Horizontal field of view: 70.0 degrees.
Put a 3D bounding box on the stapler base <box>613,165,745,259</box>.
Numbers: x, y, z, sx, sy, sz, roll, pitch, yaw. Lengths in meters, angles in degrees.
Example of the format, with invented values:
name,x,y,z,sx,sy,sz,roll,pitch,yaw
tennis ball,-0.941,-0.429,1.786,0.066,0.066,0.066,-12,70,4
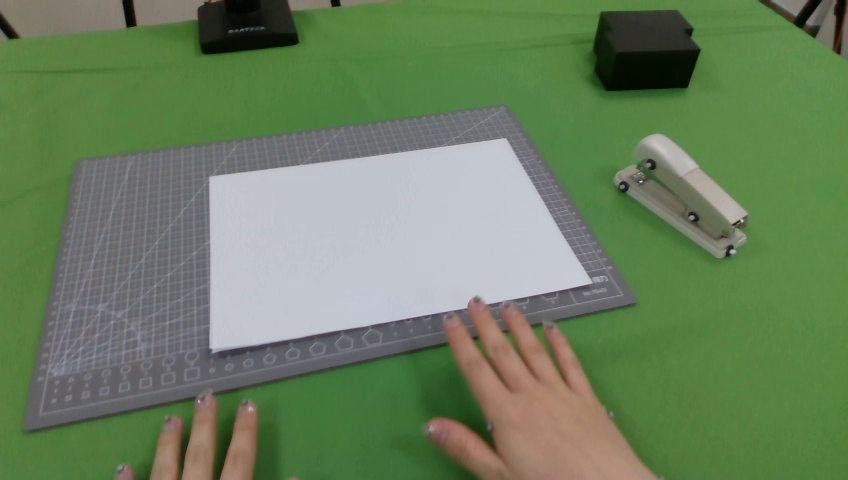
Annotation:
name,x,y,z,sx,sy,sz,roll,pitch,yaw
stapler base,0.234,-0.035,0.560,0.041,0.024,0.129,-27,54,-23

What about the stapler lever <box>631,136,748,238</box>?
name,x,y,z,sx,sy,sz,roll,pitch,yaw
stapler lever,0.236,-0.051,0.542,0.027,0.040,0.117,-28,53,-23
